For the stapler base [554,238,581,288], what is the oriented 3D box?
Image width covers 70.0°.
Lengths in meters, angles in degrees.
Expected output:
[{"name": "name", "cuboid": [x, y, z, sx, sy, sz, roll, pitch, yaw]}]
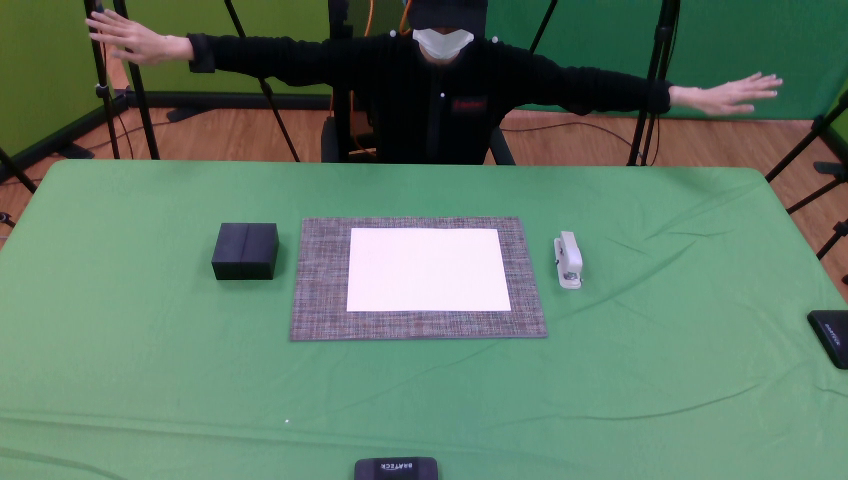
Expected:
[{"name": "stapler base", "cuboid": [0.282, 0.038, 1.181, 0.041, 0.024, 0.130, 5, 44, -2]}]

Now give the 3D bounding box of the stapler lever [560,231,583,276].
[{"name": "stapler lever", "cuboid": [0.283, 0.018, 1.165, 0.027, 0.040, 0.117, 5, 44, -2]}]
